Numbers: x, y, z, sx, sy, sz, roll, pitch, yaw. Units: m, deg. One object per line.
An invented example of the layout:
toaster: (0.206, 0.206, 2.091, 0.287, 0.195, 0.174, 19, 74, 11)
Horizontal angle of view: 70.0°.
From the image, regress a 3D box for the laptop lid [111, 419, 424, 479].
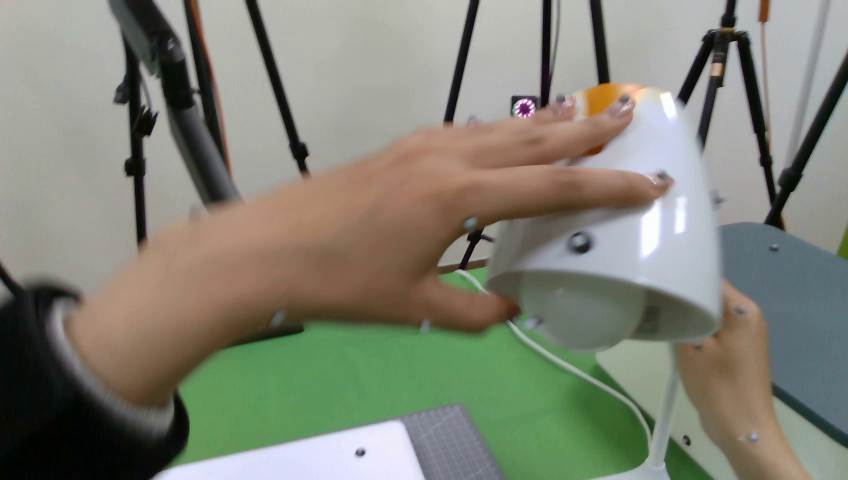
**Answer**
laptop lid: (-0.160, 0.266, 0.514, 0.358, 0.013, 0.239, -7, 27, -13)

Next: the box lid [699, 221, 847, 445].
box lid: (0.376, 0.065, 0.612, 0.264, 0.015, 0.367, -8, 26, -17)

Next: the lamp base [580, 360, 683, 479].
lamp base: (0.168, 0.195, 0.490, 0.159, 0.181, 0.179, 15, 26, 29)

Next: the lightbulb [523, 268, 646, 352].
lightbulb: (0.087, 0.003, 0.305, 0.059, 0.107, 0.060, 19, -9, 4)

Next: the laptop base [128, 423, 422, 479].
laptop base: (-0.161, 0.276, 0.521, 0.355, 0.023, 0.233, -8, 29, -15)

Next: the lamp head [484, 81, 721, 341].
lamp head: (0.098, -0.016, 0.315, 0.112, 0.113, 0.122, 9, 66, 21)

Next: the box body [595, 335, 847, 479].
box body: (0.378, 0.133, 0.642, 0.255, 0.161, 0.360, -9, 26, -17)
